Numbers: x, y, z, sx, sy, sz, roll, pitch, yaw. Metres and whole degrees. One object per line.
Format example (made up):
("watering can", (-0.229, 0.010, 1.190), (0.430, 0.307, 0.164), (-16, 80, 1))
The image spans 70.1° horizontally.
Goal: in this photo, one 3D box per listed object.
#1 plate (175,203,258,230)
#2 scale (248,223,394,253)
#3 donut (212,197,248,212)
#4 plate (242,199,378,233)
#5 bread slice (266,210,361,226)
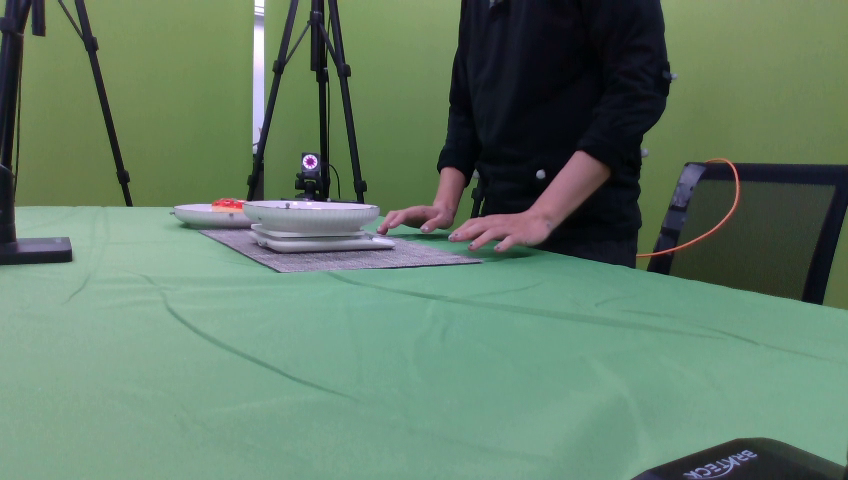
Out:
("plate", (-0.380, -0.047, 1.199), (0.208, 0.039, 0.207), (3, 7, 0))
("scale", (-0.162, -0.006, 0.954), (0.202, 0.031, 0.148), (-2, 9, -32))
("donut", (-0.376, -0.061, 1.220), (0.099, 0.048, 0.099), (5, 4, 0))
("plate", (-0.176, -0.038, 0.939), (0.209, 0.038, 0.209), (3, 7, 0))
("bread slice", (-0.174, -0.035, 0.934), (0.132, 0.019, 0.104), (-1, 7, -28))
